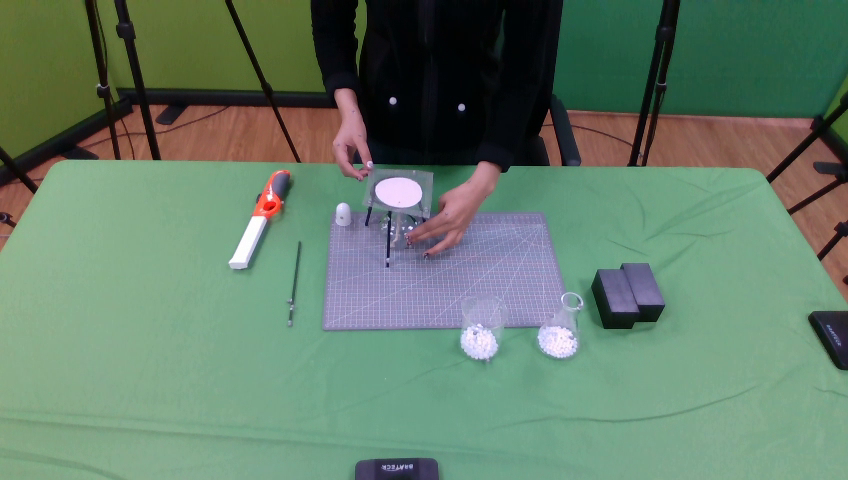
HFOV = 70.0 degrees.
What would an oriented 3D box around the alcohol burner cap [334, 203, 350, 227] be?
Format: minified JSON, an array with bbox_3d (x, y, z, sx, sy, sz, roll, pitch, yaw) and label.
[{"bbox_3d":[-0.166,-0.054,1.221,0.034,0.048,0.033,3,46,-2],"label":"alcohol burner cap"}]

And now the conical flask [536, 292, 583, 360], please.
[{"bbox_3d":[0.234,0.139,1.015,0.075,0.122,0.075,2,46,-2],"label":"conical flask"}]

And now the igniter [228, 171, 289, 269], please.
[{"bbox_3d":[-0.328,-0.049,1.218,0.057,0.025,0.275,1,45,11],"label":"igniter"}]

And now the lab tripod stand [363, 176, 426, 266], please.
[{"bbox_3d":[-0.058,-0.047,1.159,0.148,0.132,0.147,3,44,-2],"label":"lab tripod stand"}]

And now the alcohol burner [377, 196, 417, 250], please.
[{"bbox_3d":[-0.052,-0.039,1.166,0.078,0.119,0.077,3,45,-3],"label":"alcohol burner"}]

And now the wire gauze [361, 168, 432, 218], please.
[{"bbox_3d":[-0.049,-0.091,1.109,0.125,0.011,0.121,7,44,-1],"label":"wire gauze"}]

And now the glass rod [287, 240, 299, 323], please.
[{"bbox_3d":[-0.242,0.072,1.119,0.008,0.008,0.198,-1,47,-5],"label":"glass rod"}]

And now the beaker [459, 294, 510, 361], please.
[{"bbox_3d":[0.095,0.147,1.012,0.083,0.101,0.074,26,49,21],"label":"beaker"}]
